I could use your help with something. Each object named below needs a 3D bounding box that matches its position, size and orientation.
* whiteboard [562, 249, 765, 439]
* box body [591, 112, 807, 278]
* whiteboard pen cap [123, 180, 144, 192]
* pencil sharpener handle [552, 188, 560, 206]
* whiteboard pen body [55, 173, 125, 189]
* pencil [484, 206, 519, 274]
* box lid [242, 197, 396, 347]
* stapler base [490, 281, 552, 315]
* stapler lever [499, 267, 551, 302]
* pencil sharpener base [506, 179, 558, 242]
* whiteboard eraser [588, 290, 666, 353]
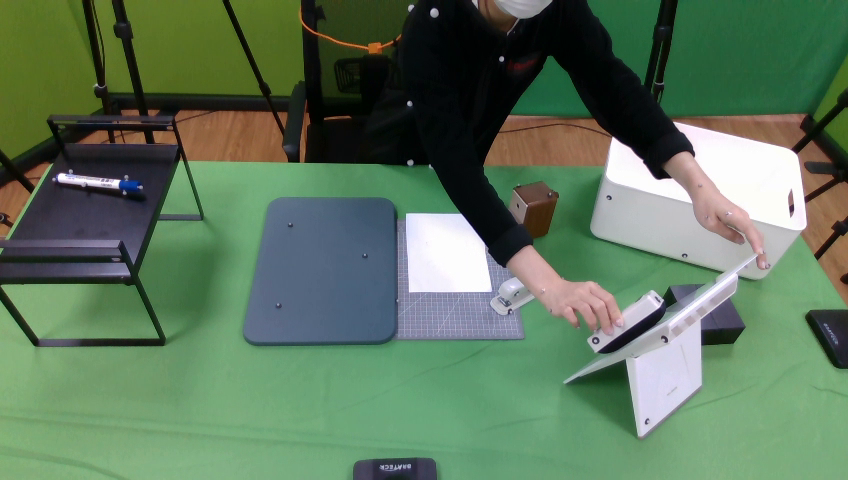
[{"bbox_3d":[0.387,0.176,0.905,0.217,0.306,0.143,-26,72,-26],"label":"whiteboard"},{"bbox_3d":[0.540,-0.092,1.229,0.363,0.161,0.253,16,47,11],"label":"box body"},{"bbox_3d":[-0.479,-0.088,0.993,0.033,0.018,0.018,7,46,14],"label":"whiteboard pen cap"},{"bbox_3d":[0.261,-0.084,1.221,0.031,0.068,0.036,-16,66,-19],"label":"pencil sharpener handle"},{"bbox_3d":[-0.539,-0.095,0.998,0.141,0.017,0.017,6,46,6],"label":"whiteboard pen body"},{"bbox_3d":[0.156,-0.002,1.218,0.012,0.012,0.192,-9,48,-13],"label":"pencil"},{"bbox_3d":[-0.186,0.046,1.147,0.263,0.015,0.369,0,46,-3],"label":"box lid"},{"bbox_3d":[0.181,0.094,1.118,0.130,0.024,0.041,-24,57,-29],"label":"stapler base"},{"bbox_3d":[0.185,0.076,1.101,0.118,0.040,0.026,-25,57,-29],"label":"stapler lever"},{"bbox_3d":[0.216,-0.059,1.211,0.077,0.107,0.061,-16,49,-19],"label":"pencil sharpener base"},{"bbox_3d":[0.286,0.119,0.852,0.041,0.113,0.055,51,24,10],"label":"whiteboard eraser"}]
